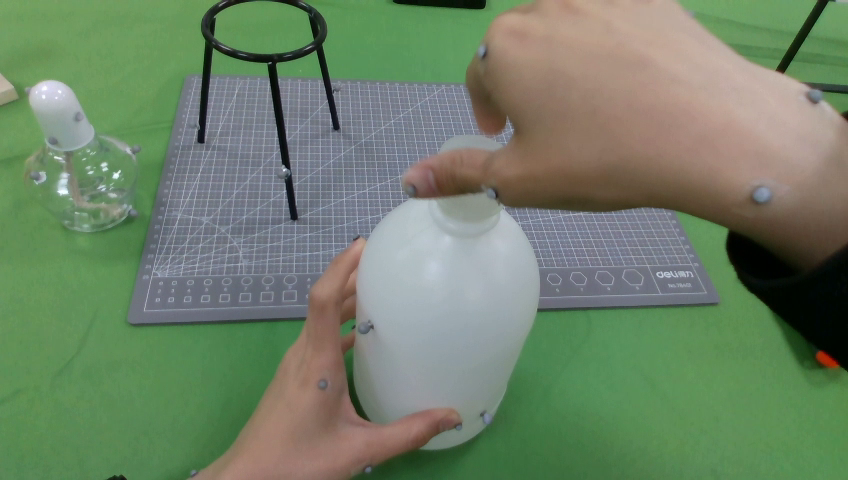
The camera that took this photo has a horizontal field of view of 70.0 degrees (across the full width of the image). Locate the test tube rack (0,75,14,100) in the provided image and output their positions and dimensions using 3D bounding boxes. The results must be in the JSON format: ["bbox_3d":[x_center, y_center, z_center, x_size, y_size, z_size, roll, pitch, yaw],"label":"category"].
[{"bbox_3d":[-0.475,-0.119,0.469,0.066,0.086,0.242,38,54,22],"label":"test tube rack"}]

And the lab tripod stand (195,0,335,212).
[{"bbox_3d":[-0.124,-0.117,0.488,0.149,0.132,0.147,6,49,-6],"label":"lab tripod stand"}]

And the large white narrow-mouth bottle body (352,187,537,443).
[{"bbox_3d":[0.010,0.032,0.343,0.102,0.196,0.101,4,49,-4],"label":"large white narrow-mouth bottle body"}]

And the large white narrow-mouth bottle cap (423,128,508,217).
[{"bbox_3d":[0.018,-0.030,0.274,0.038,0.024,0.037,4,49,-4],"label":"large white narrow-mouth bottle cap"}]

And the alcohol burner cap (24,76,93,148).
[{"bbox_3d":[-0.251,-0.089,0.413,0.034,0.048,0.033,3,55,-5],"label":"alcohol burner cap"}]

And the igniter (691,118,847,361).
[{"bbox_3d":[0.303,-0.014,0.540,0.057,0.025,0.273,8,48,-16],"label":"igniter"}]

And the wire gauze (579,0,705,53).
[{"bbox_3d":[0.236,-0.243,0.678,0.122,0.011,0.123,1,50,-10],"label":"wire gauze"}]

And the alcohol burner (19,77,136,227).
[{"bbox_3d":[-0.255,-0.066,0.440,0.078,0.120,0.077,6,47,-6],"label":"alcohol burner"}]
